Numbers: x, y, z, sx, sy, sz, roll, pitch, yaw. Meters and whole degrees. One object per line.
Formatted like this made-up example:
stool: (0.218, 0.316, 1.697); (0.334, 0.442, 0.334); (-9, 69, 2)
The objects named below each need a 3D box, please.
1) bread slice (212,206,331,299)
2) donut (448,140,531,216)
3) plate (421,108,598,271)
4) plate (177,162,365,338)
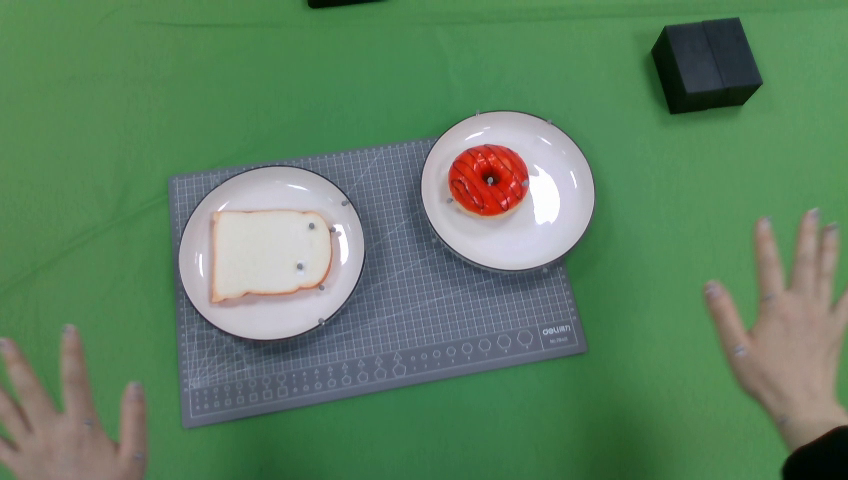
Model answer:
bread slice: (-0.175, 0.009, 0.695); (0.134, 0.018, 0.106); (-7, 73, -5)
donut: (0.077, -0.074, 0.717); (0.099, 0.048, 0.098); (0, 68, 1)
plate: (0.100, -0.059, 0.725); (0.208, 0.039, 0.206); (1, 71, -2)
plate: (-0.171, 0.012, 0.693); (0.209, 0.038, 0.207); (1, 71, -2)
